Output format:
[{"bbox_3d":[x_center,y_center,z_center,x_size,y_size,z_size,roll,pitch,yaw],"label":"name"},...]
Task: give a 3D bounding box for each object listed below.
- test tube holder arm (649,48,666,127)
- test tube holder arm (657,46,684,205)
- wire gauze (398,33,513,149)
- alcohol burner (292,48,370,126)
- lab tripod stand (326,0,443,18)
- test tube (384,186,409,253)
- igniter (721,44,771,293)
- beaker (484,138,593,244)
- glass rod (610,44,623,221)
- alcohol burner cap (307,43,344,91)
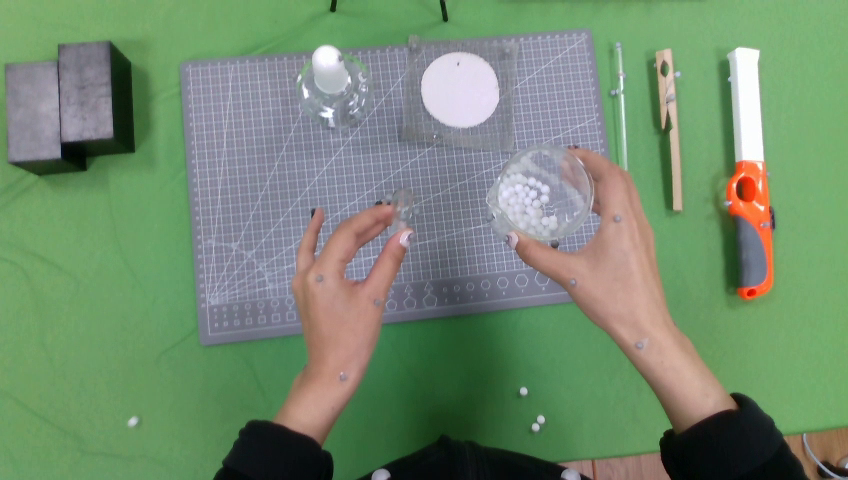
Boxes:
[{"bbox_3d":[0.262,-0.170,0.675,0.010,0.015,0.087,-8,83,32],"label":"test tube holder arm"},{"bbox_3d":[0.271,-0.126,0.667,0.013,0.015,0.178,-10,82,32],"label":"test tube holder arm"},{"bbox_3d":[0.036,-0.165,0.661,0.125,0.011,0.121,5,84,-4],"label":"wire gauze"},{"bbox_3d":[-0.094,-0.157,0.598,0.078,0.119,0.077,0,83,-1],"label":"alcohol burner"},{"bbox_3d":[-0.038,-0.294,0.611,0.148,0.131,0.148,0,85,-3],"label":"lab tripod stand"},{"bbox_3d":[-0.023,-0.013,0.493,0.017,0.151,0.017,1,76,-4],"label":"test tube"},{"bbox_3d":[0.351,-0.080,0.664,0.057,0.025,0.275,2,83,-14],"label":"igniter"},{"bbox_3d":[0.087,-0.035,0.507,0.084,0.100,0.074,-8,85,-2],"label":"beaker"},{"bbox_3d":[0.213,-0.120,0.669,0.008,0.008,0.199,-1,86,-4],"label":"glass rod"},{"bbox_3d":[-0.093,-0.163,0.563,0.034,0.048,0.033,1,76,-3],"label":"alcohol burner cap"}]
